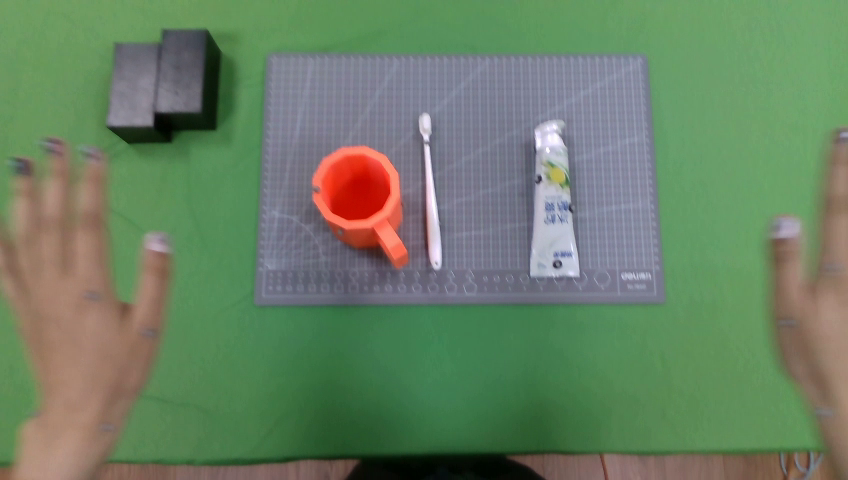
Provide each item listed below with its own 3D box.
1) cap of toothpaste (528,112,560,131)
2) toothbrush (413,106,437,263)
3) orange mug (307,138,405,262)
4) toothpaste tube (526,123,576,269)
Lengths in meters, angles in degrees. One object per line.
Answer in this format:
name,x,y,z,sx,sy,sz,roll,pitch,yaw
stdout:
cap of toothpaste,0.136,-0.131,0.681,0.037,0.037,0.011,-13,77,-4
toothbrush,0.002,-0.064,0.677,0.014,0.016,0.181,-2,81,-16
orange mug,-0.061,-0.035,0.629,0.083,0.101,0.125,-34,77,-7
toothpaste tube,0.137,-0.050,0.673,0.055,0.034,0.164,-3,84,5
